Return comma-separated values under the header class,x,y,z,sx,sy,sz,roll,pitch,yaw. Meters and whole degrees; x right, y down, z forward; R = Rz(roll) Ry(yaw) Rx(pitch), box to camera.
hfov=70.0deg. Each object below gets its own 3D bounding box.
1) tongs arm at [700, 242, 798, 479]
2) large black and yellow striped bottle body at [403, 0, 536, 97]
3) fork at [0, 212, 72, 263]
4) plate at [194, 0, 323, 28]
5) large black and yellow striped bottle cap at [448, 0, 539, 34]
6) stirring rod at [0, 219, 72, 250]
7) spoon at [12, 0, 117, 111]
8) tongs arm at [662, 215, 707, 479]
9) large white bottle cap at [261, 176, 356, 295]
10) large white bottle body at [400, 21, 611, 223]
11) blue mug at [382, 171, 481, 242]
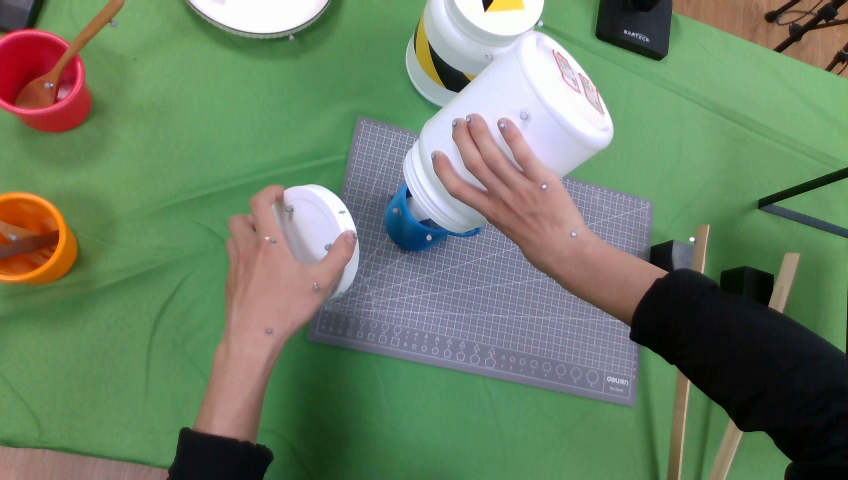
class,x,y,z,sx,sy,sz,roll,pitch,yaw
tongs arm,0.434,0.180,0.826,0.028,0.027,0.387,24,85,-19
large black and yellow striped bottle body,0.056,-0.272,0.762,0.131,0.184,0.130,3,78,-15
fork,-0.442,-0.037,0.593,0.028,0.018,0.210,-62,141,-18
plate,-0.218,-0.365,0.779,0.208,0.039,0.206,3,79,-15
large black and yellow striped bottle cap,0.078,-0.290,0.683,0.115,0.019,0.114,3,80,-16
stirring rod,-0.428,0.005,0.595,0.014,0.006,0.176,60,29,-2
spoon,-0.382,-0.203,0.646,0.194,0.021,0.041,-34,85,24
tongs arm,0.357,0.160,0.806,0.051,0.026,0.384,10,89,-16
large white bottle cap,-0.113,-0.003,0.585,0.018,0.114,0.114,-13,81,-54
large white bottle body,0.075,-0.108,0.608,0.132,0.184,0.129,32,39,-30
blue mug,0.014,-0.042,0.745,0.117,0.106,0.082,22,74,-11
